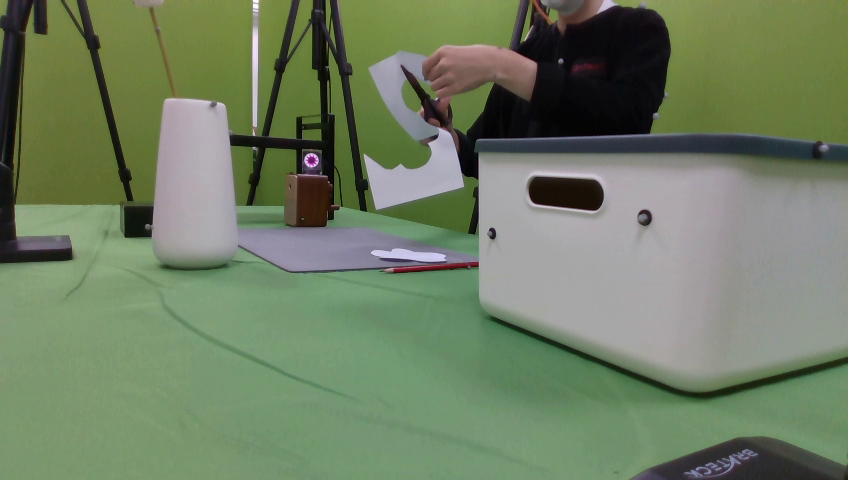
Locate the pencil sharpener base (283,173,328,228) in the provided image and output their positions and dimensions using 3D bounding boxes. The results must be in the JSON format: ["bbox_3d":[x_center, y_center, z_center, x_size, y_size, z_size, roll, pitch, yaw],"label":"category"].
[{"bbox_3d":[-0.239,-0.081,1.231,0.077,0.107,0.061,-2,8,-36],"label":"pencil sharpener base"}]

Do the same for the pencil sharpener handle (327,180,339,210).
[{"bbox_3d":[-0.194,-0.095,1.256,0.031,0.067,0.036,-2,-6,-36],"label":"pencil sharpener handle"}]

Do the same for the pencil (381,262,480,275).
[{"bbox_3d":[0.030,0.036,0.794,0.195,0.012,0.012,-3,9,-30],"label":"pencil"}]

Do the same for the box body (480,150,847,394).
[{"bbox_3d":[0.254,0.002,0.539,0.366,0.160,0.253,-2,8,-31],"label":"box body"}]

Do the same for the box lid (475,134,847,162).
[{"bbox_3d":[0.256,-0.073,0.528,0.373,0.015,0.262,-2,8,-31],"label":"box lid"}]

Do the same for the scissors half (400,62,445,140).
[{"bbox_3d":[-0.005,-0.244,1.071,0.012,0.176,0.040,19,61,40],"label":"scissors half"}]

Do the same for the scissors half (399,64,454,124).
[{"bbox_3d":[0.006,-0.261,1.077,0.013,0.040,0.176,13,-12,38],"label":"scissors half"}]

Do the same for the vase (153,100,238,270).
[{"bbox_3d":[-0.278,-0.066,0.736,0.098,0.200,0.098,2,9,0],"label":"vase"}]

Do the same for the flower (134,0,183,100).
[{"bbox_3d":[-0.282,-0.147,0.713,0.038,0.362,0.044,-23,24,-31],"label":"flower"}]
